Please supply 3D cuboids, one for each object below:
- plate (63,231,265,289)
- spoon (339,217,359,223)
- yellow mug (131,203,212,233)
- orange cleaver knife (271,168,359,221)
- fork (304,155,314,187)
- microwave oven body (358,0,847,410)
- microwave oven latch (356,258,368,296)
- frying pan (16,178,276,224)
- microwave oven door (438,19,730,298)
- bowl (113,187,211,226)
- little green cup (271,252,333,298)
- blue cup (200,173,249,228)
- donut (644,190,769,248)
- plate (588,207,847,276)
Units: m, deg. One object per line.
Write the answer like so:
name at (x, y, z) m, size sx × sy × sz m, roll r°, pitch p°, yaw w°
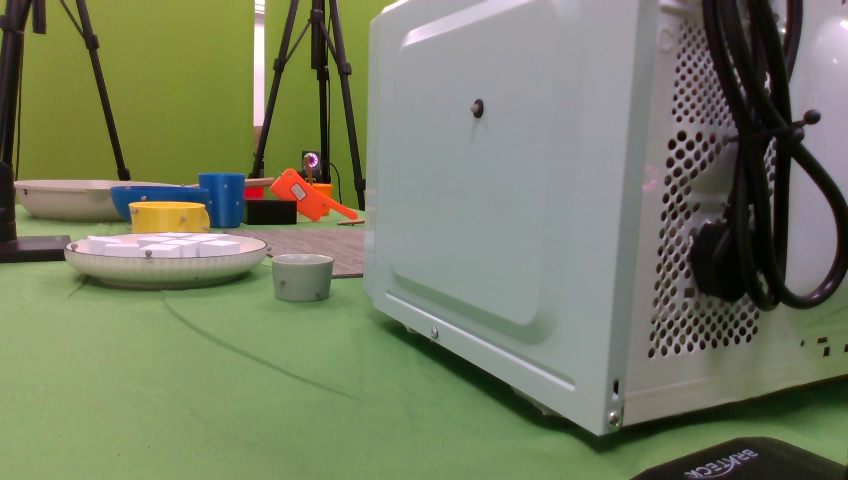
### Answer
plate at (-0.288, 0.021, 0.687) m, size 0.208 × 0.039 × 0.207 m, roll 2°, pitch 8°, yaw 0°
spoon at (-0.087, -0.041, 1.268) m, size 0.193 × 0.021 × 0.041 m, roll 4°, pitch 24°, yaw 13°
yellow mug at (-0.356, -0.020, 0.878) m, size 0.099 × 0.064 × 0.131 m, roll 4°, pitch 7°, yaw 22°
orange cleaver knife at (-0.236, -0.084, 1.333) m, size 0.212 × 0.077 × 0.012 m, roll 31°, pitch -10°, yaw -32°
fork at (-0.268, -0.134, 1.446) m, size 0.028 × 0.018 × 0.207 m, roll 1°, pitch -36°, yaw -1°
microwave oven body at (0.210, -0.051, 0.471) m, size 0.444 × 0.260 × 0.324 m, roll -1°, pitch 7°, yaw -28°
microwave oven latch at (-0.019, 0.031, 0.527) m, size 0.079 × 0.029 × 0.030 m, roll -1°, pitch 7°, yaw -24°
frying pan at (-0.553, -0.096, 1.265) m, size 0.490 × 0.102 × 0.305 m, roll -10°, pitch 13°, yaw -24°
microwave oven door at (0.181, -0.076, 0.618) m, size 0.358 × 0.243 × 0.039 m, roll -2°, pitch 8°, yaw -28°
bowl at (-0.436, -0.046, 1.013) m, size 0.151 × 0.077 × 0.151 m, roll 2°, pitch 7°, yaw 0°
little green cup at (-0.122, 0.035, 0.605) m, size 0.061 × 0.038 × 0.061 m, roll 2°, pitch 6°, yaw 0°
blue cup at (-0.381, -0.076, 1.154) m, size 0.093 × 0.100 × 0.092 m, roll 0°, pitch 8°, yaw 0°
donut at (0.239, -0.017, 0.517) m, size 0.099 × 0.048 × 0.099 m, roll 2°, pitch 3°, yaw 0°
plate at (0.245, -0.001, 0.511) m, size 0.209 × 0.038 × 0.209 m, roll 2°, pitch 7°, yaw 0°
